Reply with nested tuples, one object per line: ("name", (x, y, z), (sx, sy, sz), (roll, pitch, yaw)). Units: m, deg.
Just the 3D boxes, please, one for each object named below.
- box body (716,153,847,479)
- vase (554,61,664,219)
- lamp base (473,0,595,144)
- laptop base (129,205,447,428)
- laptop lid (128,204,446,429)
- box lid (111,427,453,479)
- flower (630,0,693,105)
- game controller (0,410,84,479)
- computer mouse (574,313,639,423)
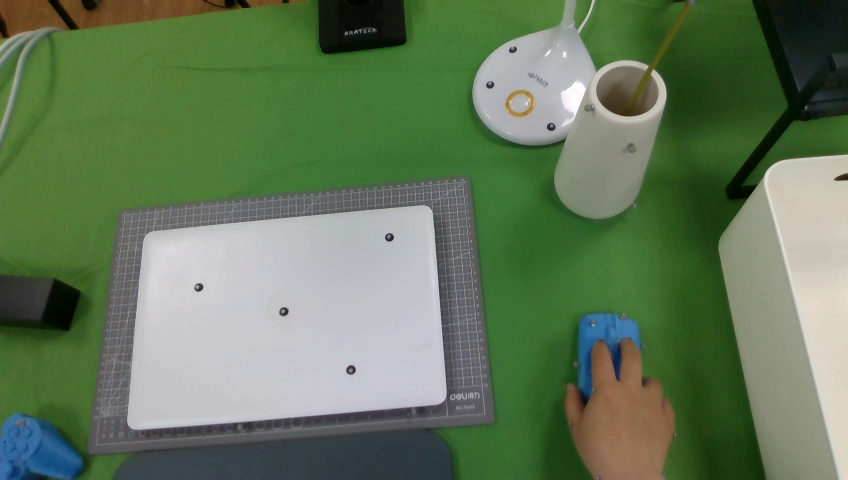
("box body", (0.445, 0.115, 0.557), (0.254, 0.161, 0.361), (-4, 68, 4))
("vase", (0.194, -0.100, 0.643), (0.098, 0.201, 0.097), (-2, 67, 6))
("lamp base", (0.141, -0.233, 0.710), (0.160, 0.181, 0.178), (27, 71, 15))
("laptop base", (-0.157, 0.084, 0.700), (0.354, 0.023, 0.234), (-5, 72, 3))
("laptop lid", (-0.157, 0.082, 0.688), (0.356, 0.013, 0.240), (-4, 71, 4))
("box lid", (-0.149, 0.335, 0.608), (0.371, 0.015, 0.261), (-5, 69, 3))
("flower", (0.202, -0.140, 0.569), (0.038, 0.364, 0.043), (-12, 57, -17))
("game controller", (-0.456, 0.255, 0.646), (0.155, 0.052, 0.096), (-41, 68, -11))
("computer mouse", (0.193, 0.132, 0.640), (0.062, 0.041, 0.116), (6, 65, 10))
